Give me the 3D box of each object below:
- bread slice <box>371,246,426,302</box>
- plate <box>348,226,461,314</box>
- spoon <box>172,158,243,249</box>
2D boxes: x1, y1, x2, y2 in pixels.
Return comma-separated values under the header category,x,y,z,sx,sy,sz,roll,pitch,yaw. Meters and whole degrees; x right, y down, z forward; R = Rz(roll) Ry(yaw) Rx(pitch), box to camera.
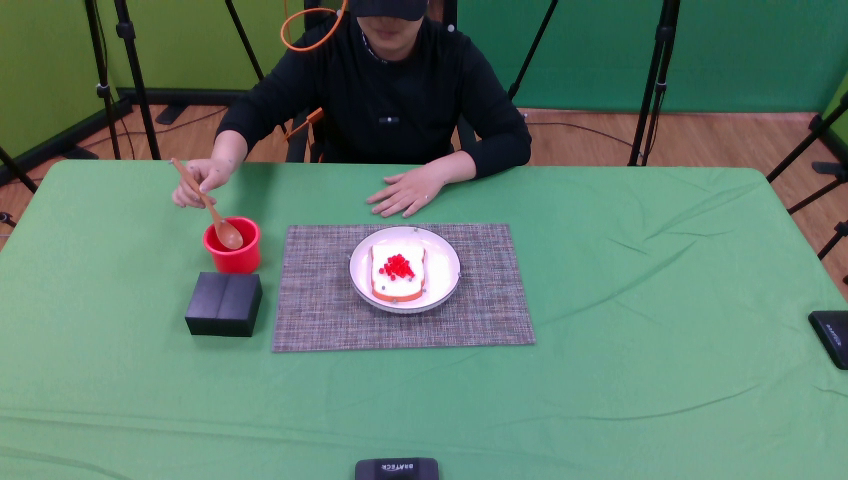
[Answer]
category,x,y,z,sx,sy,sz,roll,pitch,yaw
bread slice,-0.048,0.060,1.123,0.105,0.019,0.130,0,45,-3
plate,-0.035,0.058,1.123,0.209,0.038,0.208,2,46,-2
spoon,-0.386,-0.064,1.081,0.021,0.194,0.041,-2,36,40
